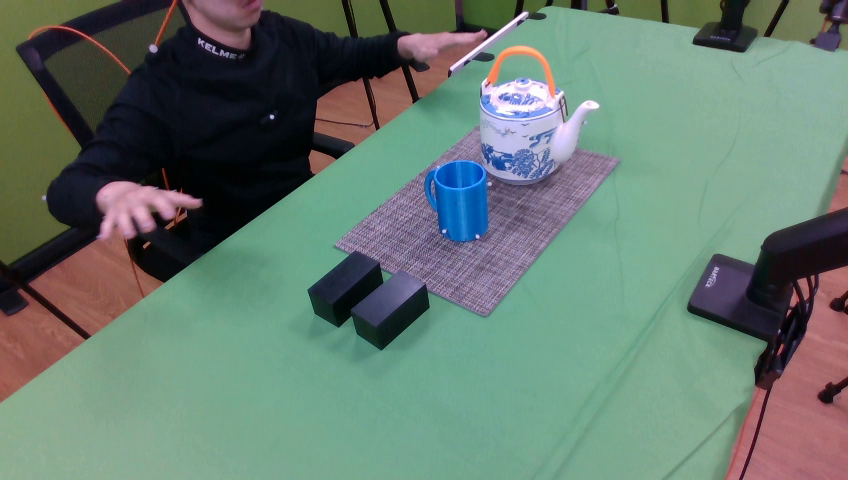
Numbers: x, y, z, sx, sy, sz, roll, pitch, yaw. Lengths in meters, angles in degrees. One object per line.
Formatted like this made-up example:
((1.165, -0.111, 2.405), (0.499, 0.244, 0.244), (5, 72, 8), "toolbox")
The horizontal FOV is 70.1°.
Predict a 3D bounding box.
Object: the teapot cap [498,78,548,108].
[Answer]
((0.165, -0.246, 1.010), (0.085, 0.044, 0.084), (-4, 44, 5), "teapot cap")

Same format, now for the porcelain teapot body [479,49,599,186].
((0.192, -0.208, 1.023), (0.204, 0.226, 0.145), (16, 46, 25), "porcelain teapot body")

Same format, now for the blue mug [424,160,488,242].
((0.047, -0.067, 0.970), (0.115, 0.106, 0.082), (22, 49, 30), "blue mug")
